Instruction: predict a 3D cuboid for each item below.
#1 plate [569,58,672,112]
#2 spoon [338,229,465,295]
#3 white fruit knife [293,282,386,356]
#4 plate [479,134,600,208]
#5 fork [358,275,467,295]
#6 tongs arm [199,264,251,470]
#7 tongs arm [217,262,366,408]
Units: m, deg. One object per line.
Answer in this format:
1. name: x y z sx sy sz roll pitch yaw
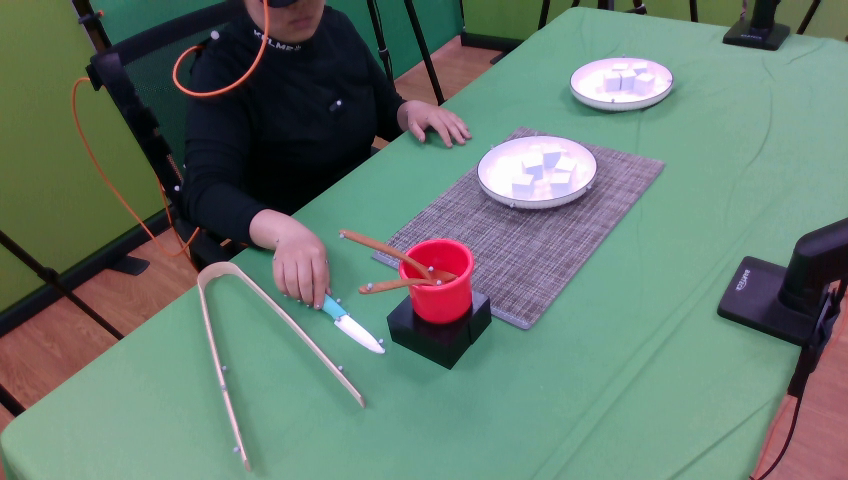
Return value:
1. plate: 0.411 -0.323 1.274 0.209 0.038 0.208 -5 41 5
2. spoon: -0.025 0.026 0.776 0.021 0.195 0.041 -41 34 32
3. white fruit knife: -0.123 0.112 0.880 0.205 0.016 0.027 31 83 35
4. plate: 0.202 -0.117 1.065 0.207 0.039 0.206 -5 40 5
5. fork: -0.009 0.056 0.739 0.028 0.018 0.209 48 23 26
6. tongs arm: -0.270 0.154 0.841 0.051 0.026 0.381 -23 40 -17
7. tongs arm: -0.201 0.122 0.871 0.028 0.028 0.384 -35 46 -24
